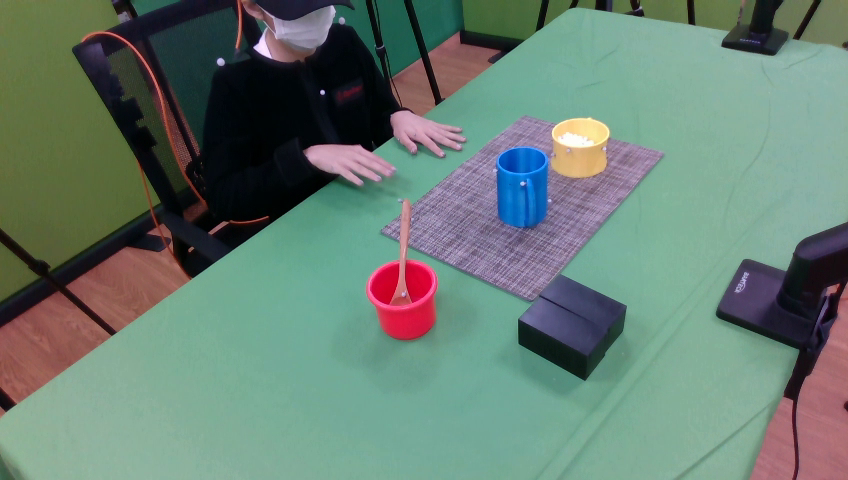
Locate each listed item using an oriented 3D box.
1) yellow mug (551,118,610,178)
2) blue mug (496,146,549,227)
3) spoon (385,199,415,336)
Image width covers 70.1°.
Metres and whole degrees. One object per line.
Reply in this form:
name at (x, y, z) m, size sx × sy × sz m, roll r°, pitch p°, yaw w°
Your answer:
yellow mug at (0.287, -0.176, 1.098) m, size 0.099 × 0.064 × 0.131 m, roll 12°, pitch 43°, yaw 23°
blue mug at (0.162, -0.076, 0.969) m, size 0.082 × 0.106 × 0.116 m, roll -9°, pitch 40°, yaw -1°
spoon at (-0.029, 0.037, 0.843) m, size 0.041 × 0.022 × 0.193 m, roll 2°, pitch 85°, yaw 11°
